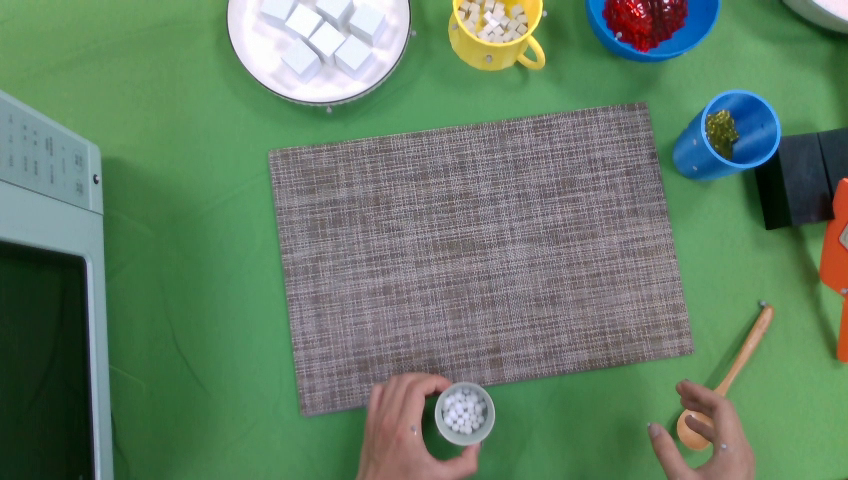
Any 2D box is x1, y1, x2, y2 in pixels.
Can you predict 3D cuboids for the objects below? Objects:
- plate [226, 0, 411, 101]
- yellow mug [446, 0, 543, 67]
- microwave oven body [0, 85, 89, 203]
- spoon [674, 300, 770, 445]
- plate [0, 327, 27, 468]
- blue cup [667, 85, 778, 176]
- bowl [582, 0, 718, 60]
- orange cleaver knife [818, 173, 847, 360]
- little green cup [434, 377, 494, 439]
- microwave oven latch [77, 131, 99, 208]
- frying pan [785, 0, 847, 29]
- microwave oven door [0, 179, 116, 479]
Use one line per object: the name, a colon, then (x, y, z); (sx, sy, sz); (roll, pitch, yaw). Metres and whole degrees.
plate: (-0.119, -0.258, 0.700); (0.208, 0.039, 0.207); (0, 84, -2)
yellow mug: (0.089, -0.248, 0.695); (0.131, 0.064, 0.100); (44, 84, 2)
microwave oven body: (-0.496, 0.102, 0.530); (0.326, 0.260, 0.440); (-5, 85, -4)
spoon: (0.344, 0.147, 0.687); (0.041, 0.022, 0.193); (36, 83, 12)
plate: (-0.482, 0.155, 0.578); (0.209, 0.038, 0.208); (0, 85, -4)
blue cup: (0.321, -0.112, 0.673); (0.093, 0.100, 0.092); (1, 82, -3)
bowl: (0.247, -0.271, 0.698); (0.151, 0.077, 0.151); (0, 84, -2)
orange cleaver knife: (0.468, 0.033, 0.675); (0.012, 0.076, 0.213); (-9, 113, -3)
little green cup: (0.040, 0.171, 0.627); (0.061, 0.038, 0.061); (0, 87, -2)
microwave oven latch: (-0.369, -0.075, 0.651); (0.030, 0.029, 0.079); (-4, 85, -3)
frying pan: (0.531, -0.283, 0.699); (0.307, 0.103, 0.485); (-3, 76, -2)
microwave oven door: (-0.346, 0.131, 0.529); (0.039, 0.244, 0.355); (-5, 84, -3)
